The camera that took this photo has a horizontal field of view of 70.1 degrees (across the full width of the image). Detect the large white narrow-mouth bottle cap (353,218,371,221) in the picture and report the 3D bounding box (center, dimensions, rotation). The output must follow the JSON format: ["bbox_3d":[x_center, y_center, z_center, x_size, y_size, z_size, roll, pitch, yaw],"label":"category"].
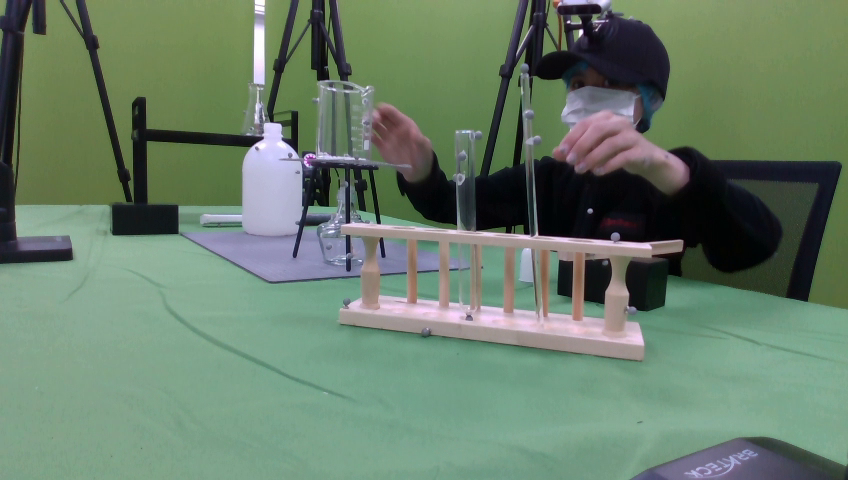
[{"bbox_3d":[-0.121,-0.030,1.184,0.038,0.024,0.037,2,8,0],"label":"large white narrow-mouth bottle cap"}]

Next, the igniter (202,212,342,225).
[{"bbox_3d":[-0.298,-0.044,1.216,0.278,0.025,0.057,-3,-2,-32],"label":"igniter"}]

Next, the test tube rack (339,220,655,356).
[{"bbox_3d":[0.056,0.032,0.495,0.242,0.085,0.067,4,7,15],"label":"test tube rack"}]

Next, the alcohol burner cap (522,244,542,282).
[{"bbox_3d":[0.137,0.026,0.740,0.034,0.048,0.034,1,6,0],"label":"alcohol burner cap"}]

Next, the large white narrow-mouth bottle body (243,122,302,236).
[{"bbox_3d":[-0.264,-0.109,1.061,0.102,0.194,0.102,2,8,0],"label":"large white narrow-mouth bottle body"}]

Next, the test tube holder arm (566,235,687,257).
[{"bbox_3d":[0.215,0.006,0.630,0.179,0.015,0.013,-3,9,-30],"label":"test tube holder arm"}]

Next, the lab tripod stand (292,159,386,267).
[{"bbox_3d":[-0.105,-0.039,0.797,0.148,0.131,0.148,2,5,0],"label":"lab tripod stand"}]

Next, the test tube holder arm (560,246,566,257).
[{"bbox_3d":[0.173,0.007,0.611,0.088,0.015,0.010,-3,9,-30],"label":"test tube holder arm"}]

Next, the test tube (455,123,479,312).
[{"bbox_3d":[0.034,-0.016,0.476,0.017,0.150,0.017,-2,10,1],"label":"test tube"}]

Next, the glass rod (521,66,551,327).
[{"bbox_3d":[0.085,-0.028,0.454,0.008,0.199,0.008,-7,10,1],"label":"glass rod"}]

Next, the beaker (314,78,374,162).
[{"bbox_3d":[-0.101,-0.150,0.773,0.074,0.100,0.083,-2,8,-40],"label":"beaker"}]

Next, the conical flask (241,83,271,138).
[{"bbox_3d":[-0.384,-0.297,1.393,0.075,0.122,0.075,2,7,0],"label":"conical flask"}]

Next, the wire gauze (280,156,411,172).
[{"bbox_3d":[-0.103,-0.103,0.785,0.121,0.011,0.126,11,8,42],"label":"wire gauze"}]

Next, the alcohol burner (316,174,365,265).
[{"bbox_3d":[-0.102,-0.028,0.790,0.078,0.119,0.078,0,6,0],"label":"alcohol burner"}]
